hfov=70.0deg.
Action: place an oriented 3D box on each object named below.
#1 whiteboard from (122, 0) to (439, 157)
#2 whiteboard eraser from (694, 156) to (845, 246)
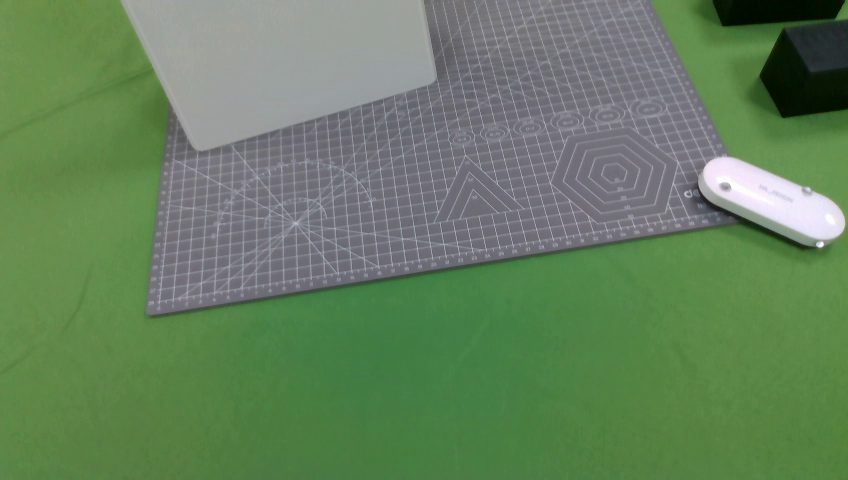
[{"bbox_3d":[-0.132,-0.258,0.473,0.217,0.308,0.142,-18,40,-5],"label":"whiteboard"},{"bbox_3d":[0.248,-0.029,0.437,0.101,0.019,0.041,28,64,17],"label":"whiteboard eraser"}]
